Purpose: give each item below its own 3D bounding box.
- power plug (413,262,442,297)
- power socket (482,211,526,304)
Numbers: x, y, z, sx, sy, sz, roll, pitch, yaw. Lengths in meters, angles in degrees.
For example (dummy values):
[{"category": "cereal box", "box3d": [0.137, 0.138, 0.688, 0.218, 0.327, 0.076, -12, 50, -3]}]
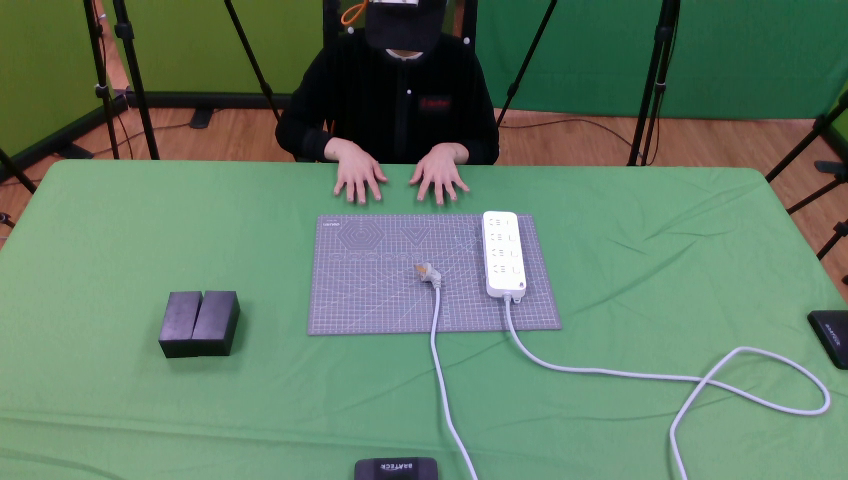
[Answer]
[{"category": "power plug", "box3d": [0.007, 0.067, 1.112, 0.053, 0.035, 0.072, 12, 24, -13]}, {"category": "power socket", "box3d": [0.153, 0.025, 1.173, 0.072, 0.033, 0.225, 2, 46, -1]}]
